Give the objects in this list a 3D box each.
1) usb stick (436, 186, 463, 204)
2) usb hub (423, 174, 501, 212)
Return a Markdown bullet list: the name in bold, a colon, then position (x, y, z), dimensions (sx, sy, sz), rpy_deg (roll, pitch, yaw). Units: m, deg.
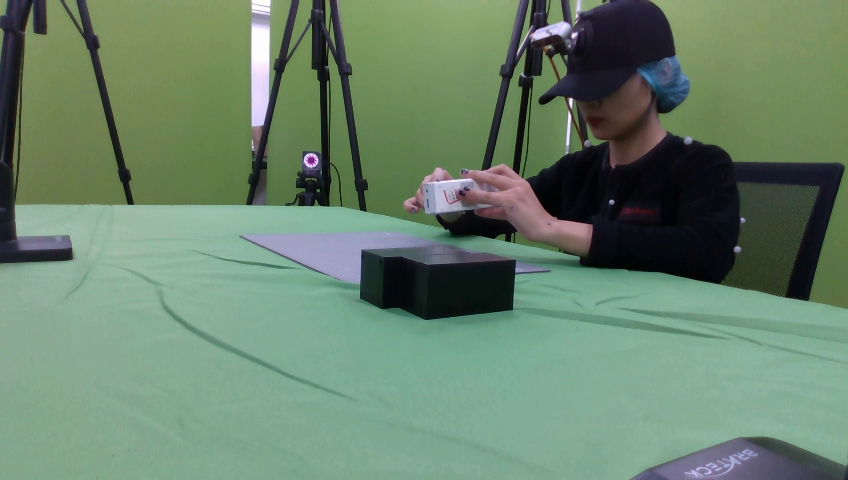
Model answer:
- **usb stick**: position (0.042, -0.071, 0.960), dimensions (0.021, 0.027, 0.059), rpy_deg (-13, 14, -26)
- **usb hub**: position (0.060, -0.073, 0.937), dimensions (0.126, 0.049, 0.025), rpy_deg (-8, 7, -27)
